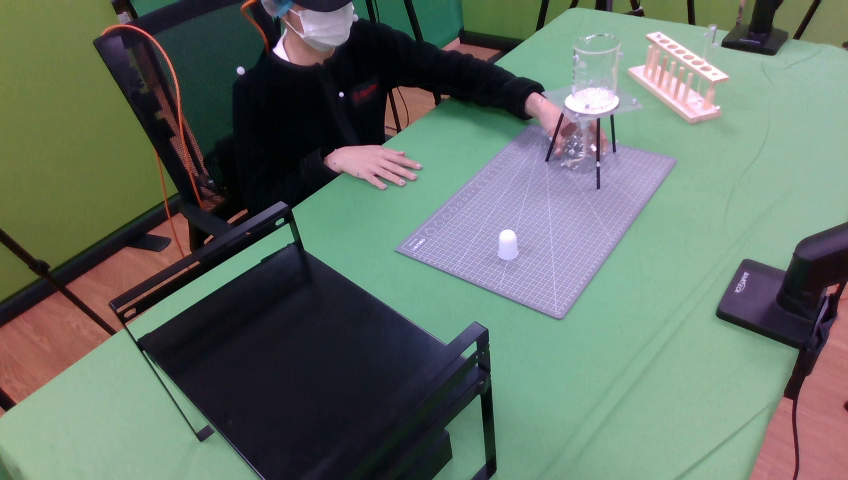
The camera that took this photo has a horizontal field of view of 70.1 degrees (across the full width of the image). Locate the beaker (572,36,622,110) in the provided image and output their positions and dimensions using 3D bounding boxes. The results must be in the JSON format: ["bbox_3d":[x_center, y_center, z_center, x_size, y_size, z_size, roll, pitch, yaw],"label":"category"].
[{"bbox_3d":[0.279,-0.274,0.992,0.074,0.101,0.083,-14,40,-5],"label":"beaker"}]

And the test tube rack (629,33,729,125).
[{"bbox_3d":[0.516,-0.337,1.248,0.067,0.085,0.240,-14,41,-6],"label":"test tube rack"}]

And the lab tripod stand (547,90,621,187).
[{"bbox_3d":[0.289,-0.184,1.062,0.148,0.132,0.147,-6,41,6],"label":"lab tripod stand"}]

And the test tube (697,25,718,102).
[{"bbox_3d":[0.546,-0.337,1.166,0.017,0.151,0.017,-5,36,4],"label":"test tube"}]

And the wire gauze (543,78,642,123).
[{"bbox_3d":[0.282,-0.234,1.022,0.125,0.011,0.120,-17,38,-5],"label":"wire gauze"}]

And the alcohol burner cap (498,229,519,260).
[{"bbox_3d":[0.131,0.004,0.938,0.034,0.048,0.033,-4,40,4],"label":"alcohol burner cap"}]

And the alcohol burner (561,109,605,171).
[{"bbox_3d":[0.283,-0.183,1.076,0.078,0.119,0.077,-5,44,5],"label":"alcohol burner"}]
